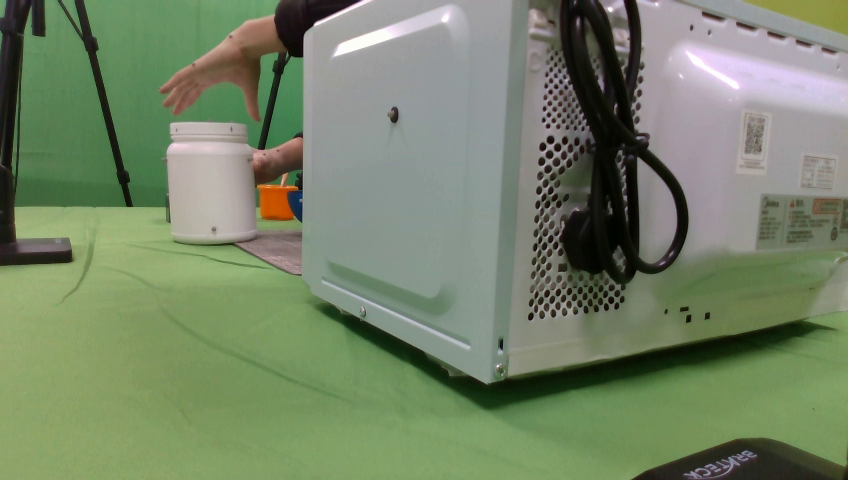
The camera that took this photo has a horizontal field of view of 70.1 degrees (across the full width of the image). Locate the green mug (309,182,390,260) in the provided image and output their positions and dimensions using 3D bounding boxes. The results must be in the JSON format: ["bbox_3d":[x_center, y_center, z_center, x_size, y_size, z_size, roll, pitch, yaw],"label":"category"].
[{"bbox_3d":[-0.102,-0.029,0.864,0.126,0.105,0.092,-3,8,-40],"label":"green mug"}]

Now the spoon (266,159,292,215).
[{"bbox_3d":[-0.334,-0.127,1.424,0.041,0.193,0.021,2,-38,5],"label":"spoon"}]

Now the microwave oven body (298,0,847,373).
[{"bbox_3d":[0.151,-0.055,0.542,0.444,0.260,0.324,-2,7,-33],"label":"microwave oven body"}]

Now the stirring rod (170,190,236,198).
[{"bbox_3d":[-0.465,-0.098,1.283,0.014,0.006,0.177,42,21,17],"label":"stirring rod"}]

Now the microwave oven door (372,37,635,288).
[{"bbox_3d":[0.109,-0.080,0.686,0.358,0.243,0.039,-2,9,-33],"label":"microwave oven door"}]

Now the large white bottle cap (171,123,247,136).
[{"bbox_3d":[-0.342,-0.175,0.964,0.115,0.018,0.115,-1,10,0],"label":"large white bottle cap"}]

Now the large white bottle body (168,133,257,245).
[{"bbox_3d":[-0.341,-0.092,0.977,0.131,0.184,0.130,0,8,0],"label":"large white bottle body"}]

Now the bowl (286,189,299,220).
[{"bbox_3d":[-0.179,-0.051,1.115,0.151,0.077,0.151,2,8,0],"label":"bowl"}]

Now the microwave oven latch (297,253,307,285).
[{"bbox_3d":[-0.082,0.027,0.582,0.079,0.029,0.030,-2,7,-33],"label":"microwave oven latch"}]
